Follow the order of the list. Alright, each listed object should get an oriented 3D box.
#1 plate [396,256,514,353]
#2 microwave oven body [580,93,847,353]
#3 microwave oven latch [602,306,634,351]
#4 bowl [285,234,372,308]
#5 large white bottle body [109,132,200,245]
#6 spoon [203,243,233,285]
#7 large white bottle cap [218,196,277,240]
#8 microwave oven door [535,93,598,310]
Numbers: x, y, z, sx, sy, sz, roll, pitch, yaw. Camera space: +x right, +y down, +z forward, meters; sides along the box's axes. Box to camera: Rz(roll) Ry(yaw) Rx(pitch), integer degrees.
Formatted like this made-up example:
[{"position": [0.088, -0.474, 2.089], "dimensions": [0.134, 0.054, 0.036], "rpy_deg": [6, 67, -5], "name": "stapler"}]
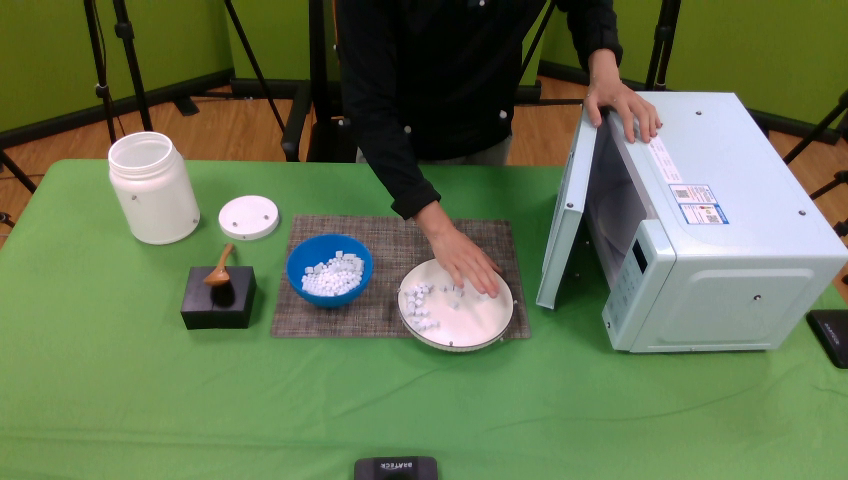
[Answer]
[{"position": [0.053, 0.116, 1.077], "dimensions": [0.209, 0.038, 0.208], "rpy_deg": [2, 46, -2], "name": "plate"}, {"position": [0.475, -0.041, 1.109], "dimensions": [0.326, 0.261, 0.438], "rpy_deg": [-1, 45, -4], "name": "microwave oven body"}, {"position": [0.332, 0.153, 1.044], "dimensions": [0.030, 0.029, 0.078], "rpy_deg": [0, 45, -4], "name": "microwave oven latch"}, {"position": [-0.168, 0.068, 1.077], "dimensions": [0.151, 0.077, 0.150], "rpy_deg": [3, 46, -3], "name": "bowl"}, {"position": [-0.506, -0.097, 1.141], "dimensions": [0.131, 0.185, 0.130], "rpy_deg": [2, 46, -2], "name": "large white bottle body"}, {"position": [-0.360, 0.039, 1.087], "dimensions": [0.041, 0.022, 0.192], "rpy_deg": [-5, 24, -7], "name": "spoon"}, {"position": [-0.355, -0.045, 1.220], "dimensions": [0.115, 0.018, 0.114], "rpy_deg": [2, 45, -1], "name": "large white bottle cap"}, {"position": [0.270, -0.081, 1.126], "dimensions": [0.039, 0.245, 0.354], "rpy_deg": [14, 46, 9], "name": "microwave oven door"}]
